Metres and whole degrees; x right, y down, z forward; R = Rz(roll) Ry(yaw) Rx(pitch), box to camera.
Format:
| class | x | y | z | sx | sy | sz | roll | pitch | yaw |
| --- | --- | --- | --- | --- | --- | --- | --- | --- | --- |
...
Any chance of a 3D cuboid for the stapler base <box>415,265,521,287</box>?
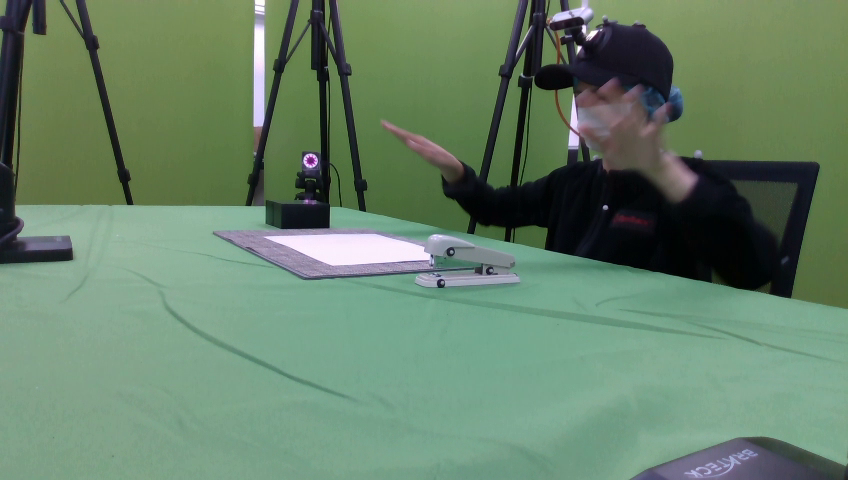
| class | x | y | z | sx | sy | sz | roll | pitch | yaw |
| --- | --- | --- | --- | --- | --- | --- | --- | --- | --- |
| stapler base | 0.053 | 0.039 | 0.716 | 0.131 | 0.024 | 0.041 | 1 | 9 | -27 |

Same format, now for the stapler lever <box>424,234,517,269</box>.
| class | x | y | z | sx | sy | sz | roll | pitch | yaw |
| --- | --- | --- | --- | --- | --- | --- | --- | --- | --- |
| stapler lever | 0.056 | 0.014 | 0.714 | 0.119 | 0.040 | 0.026 | 1 | 9 | -27 |
